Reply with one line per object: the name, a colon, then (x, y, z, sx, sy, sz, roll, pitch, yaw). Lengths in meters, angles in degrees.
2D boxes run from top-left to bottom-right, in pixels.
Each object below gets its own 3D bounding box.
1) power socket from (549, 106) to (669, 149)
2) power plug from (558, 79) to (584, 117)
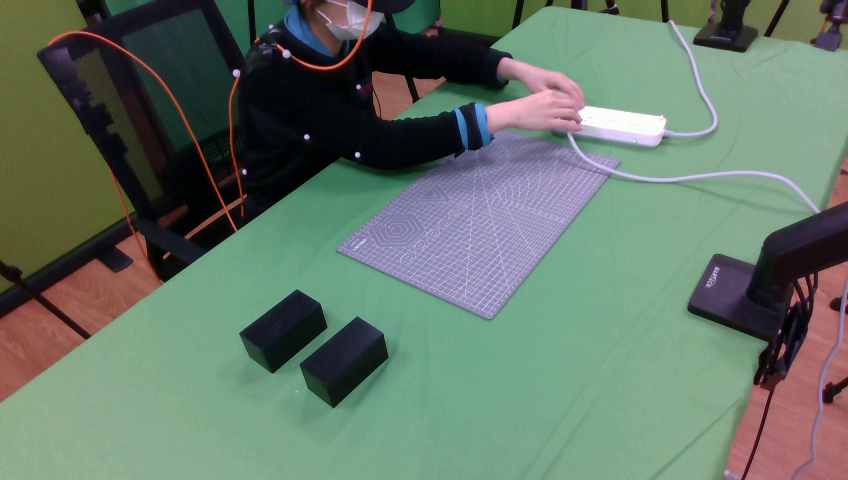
power socket: (0.353, -0.223, 1.169, 0.225, 0.033, 0.072, 16, 46, 24)
power plug: (0.279, -0.268, 1.157, 0.035, 0.073, 0.052, -48, 37, -19)
